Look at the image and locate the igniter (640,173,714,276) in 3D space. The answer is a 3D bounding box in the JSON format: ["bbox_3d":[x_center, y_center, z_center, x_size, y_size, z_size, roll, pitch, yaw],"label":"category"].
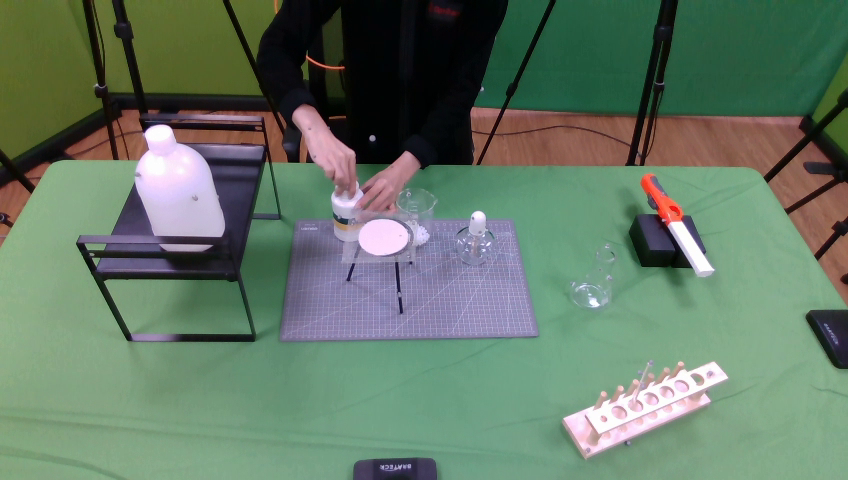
[{"bbox_3d":[0.495,-0.039,1.204,0.057,0.025,0.274,-2,47,-12],"label":"igniter"}]

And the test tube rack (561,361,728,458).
[{"bbox_3d":[0.341,0.248,0.940,0.243,0.085,0.066,-15,48,-18],"label":"test tube rack"}]

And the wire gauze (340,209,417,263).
[{"bbox_3d":[-0.074,-0.007,1.023,0.121,0.011,0.124,3,46,0],"label":"wire gauze"}]

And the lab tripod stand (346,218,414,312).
[{"bbox_3d":[-0.070,0.037,1.075,0.148,0.132,0.147,1,47,-1],"label":"lab tripod stand"}]

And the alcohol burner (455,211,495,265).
[{"bbox_3d":[0.097,-0.010,1.147,0.078,0.120,0.077,1,47,0],"label":"alcohol burner"}]

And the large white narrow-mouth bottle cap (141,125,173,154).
[{"bbox_3d":[-0.356,-0.134,0.810,0.038,0.024,0.037,2,48,-1],"label":"large white narrow-mouth bottle cap"}]

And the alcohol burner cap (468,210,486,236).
[{"bbox_3d":[0.099,-0.034,1.119,0.034,0.048,0.033,0,53,0],"label":"alcohol burner cap"}]

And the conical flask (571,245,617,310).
[{"bbox_3d":[0.313,0.064,1.089,0.075,0.122,0.075,2,46,-2],"label":"conical flask"}]

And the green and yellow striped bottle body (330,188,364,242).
[{"bbox_3d":[-0.148,-0.059,1.171,0.063,0.120,0.063,2,46,-2],"label":"green and yellow striped bottle body"}]

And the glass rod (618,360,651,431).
[{"bbox_3d":[0.298,0.227,0.865,0.008,0.201,0.008,-2,48,2],"label":"glass rod"}]

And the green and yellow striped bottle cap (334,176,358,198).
[{"bbox_3d":[-0.146,-0.099,1.130,0.045,0.020,0.045,5,42,-4],"label":"green and yellow striped bottle cap"}]

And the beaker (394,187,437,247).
[{"bbox_3d":[-0.018,-0.042,1.179,0.084,0.101,0.073,-8,48,-13],"label":"beaker"}]

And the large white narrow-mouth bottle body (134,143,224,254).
[{"bbox_3d":[-0.358,-0.075,0.875,0.102,0.195,0.101,1,48,-1],"label":"large white narrow-mouth bottle body"}]
